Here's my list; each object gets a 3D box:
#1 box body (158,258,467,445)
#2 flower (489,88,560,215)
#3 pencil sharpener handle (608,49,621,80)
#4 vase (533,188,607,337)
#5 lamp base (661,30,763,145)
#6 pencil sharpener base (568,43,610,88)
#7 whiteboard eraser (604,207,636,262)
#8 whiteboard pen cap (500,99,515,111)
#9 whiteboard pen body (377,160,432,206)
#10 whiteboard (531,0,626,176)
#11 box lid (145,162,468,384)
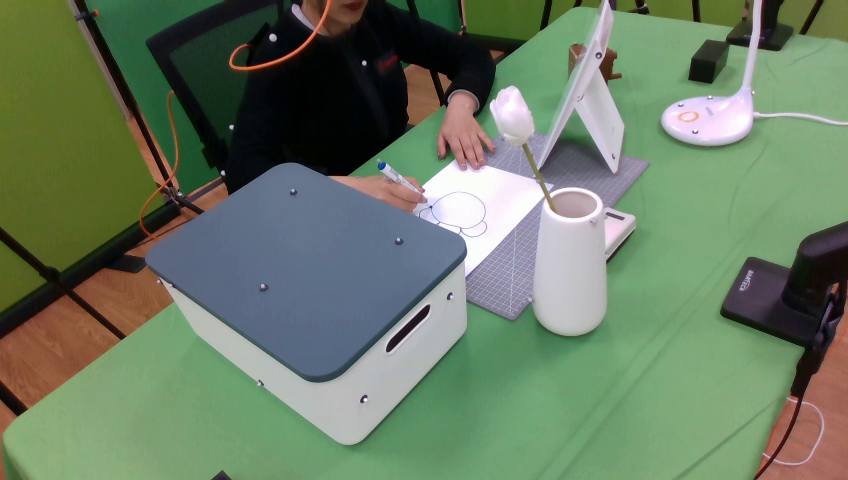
[{"bbox_3d":[-0.147,0.072,0.816,0.361,0.161,0.255,24,50,33],"label":"box body"},{"bbox_3d":[0.158,-0.028,0.720,0.038,0.364,0.044,-14,44,23],"label":"flower"},{"bbox_3d":[0.394,-0.367,1.253,0.030,0.068,0.036,-9,32,1],"label":"pencil sharpener handle"},{"bbox_3d":[0.187,0.033,0.771,0.098,0.201,0.097,-6,41,6],"label":"vase"},{"bbox_3d":[0.535,-0.287,1.096,0.179,0.181,0.159,-10,40,-4],"label":"lamp base"},{"bbox_3d":[0.345,-0.352,1.263,0.077,0.107,0.061,-9,40,1],"label":"pencil sharpener base"},{"bbox_3d":[0.272,-0.003,0.919,0.055,0.042,0.113,27,51,32],"label":"whiteboard eraser"},{"bbox_3d":[0.177,-0.287,1.290,0.033,0.018,0.018,-37,47,-26],"label":"whiteboard pen cap"},{"bbox_3d":[-0.029,-0.092,1.013,0.017,0.142,0.017,-22,50,30],"label":"whiteboard pen body"},{"bbox_3d":[0.320,-0.259,1.050,0.144,0.306,0.217,22,45,6],"label":"whiteboard"},{"bbox_3d":[-0.157,0.014,0.769,0.368,0.015,0.264,25,51,33],"label":"box lid"}]
